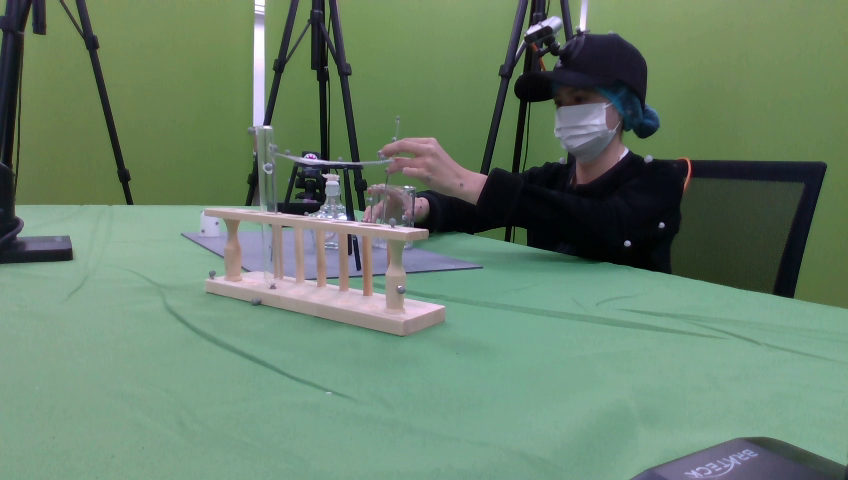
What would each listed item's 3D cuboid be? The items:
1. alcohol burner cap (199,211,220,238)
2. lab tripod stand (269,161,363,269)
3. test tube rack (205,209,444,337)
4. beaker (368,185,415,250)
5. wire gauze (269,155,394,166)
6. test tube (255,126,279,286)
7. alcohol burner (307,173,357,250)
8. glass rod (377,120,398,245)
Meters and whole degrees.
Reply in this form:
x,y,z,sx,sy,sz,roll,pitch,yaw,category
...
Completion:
x,y,z,sx,sy,sz,roll,pitch,yaw,category
-0.356,-0.027,1.002,0.034,0.048,0.034,2,7,0,alcohol burner cap
-0.125,-0.036,0.794,0.148,0.131,0.148,5,7,0,lab tripod stand
-0.100,0.021,0.565,0.241,0.085,0.067,7,8,32,test tube rack
-0.051,-0.036,0.957,0.074,0.100,0.083,-1,9,-24,beaker
-0.121,-0.102,0.785,0.122,0.011,0.124,-3,10,-39,wire gauze
-0.147,-0.031,0.566,0.017,0.150,0.017,-1,8,0,test tube
-0.144,-0.045,0.940,0.078,0.119,0.078,1,8,0,alcohol burner
-0.057,-0.088,0.947,0.008,0.199,0.008,9,12,-2,glass rod
